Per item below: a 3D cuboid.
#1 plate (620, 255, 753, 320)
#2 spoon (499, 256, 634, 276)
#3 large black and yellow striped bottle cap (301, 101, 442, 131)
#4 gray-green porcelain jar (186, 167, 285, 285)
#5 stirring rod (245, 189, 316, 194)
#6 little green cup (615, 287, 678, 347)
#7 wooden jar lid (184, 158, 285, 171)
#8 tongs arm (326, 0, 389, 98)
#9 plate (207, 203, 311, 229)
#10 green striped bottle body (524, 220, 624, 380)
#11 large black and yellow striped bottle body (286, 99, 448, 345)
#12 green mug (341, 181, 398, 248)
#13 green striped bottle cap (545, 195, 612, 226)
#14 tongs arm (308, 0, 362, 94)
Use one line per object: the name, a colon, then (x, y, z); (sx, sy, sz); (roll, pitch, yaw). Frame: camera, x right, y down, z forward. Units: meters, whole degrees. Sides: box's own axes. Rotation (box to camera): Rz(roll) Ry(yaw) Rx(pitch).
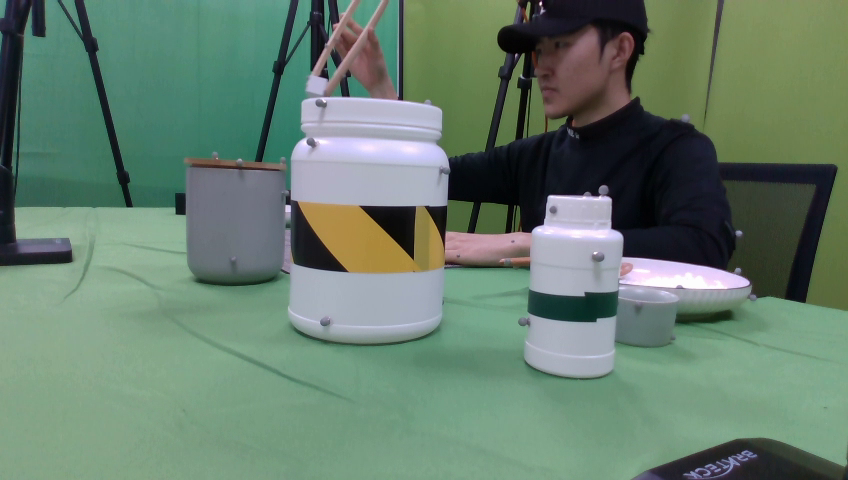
plate: (0.234, 0.049, 0.651); (0.209, 0.038, 0.209); (2, 7, 0)
spoon: (0.162, 0.027, 0.679); (0.195, 0.021, 0.041); (8, 3, -30)
large black and yellow striped bottle cap: (-0.042, -0.100, 0.491); (0.115, 0.019, 0.115); (1, 8, 0)
gray-green porcelain jar: (-0.212, -0.017, 0.682); (0.106, 0.126, 0.106); (2, 7, 0)
stirring rod: (-0.351, -0.119, 1.490); (0.177, 0.014, 0.006); (-2, 5, -29)
little green cup: (0.180, 0.064, 0.506); (0.061, 0.038, 0.061); (1, 8, 0)
wooden jar lid: (-0.210, -0.078, 0.674); (0.108, 0.020, 0.108); (5, 6, 0)
tongs arm: (-0.126, -0.406, 1.199); (0.028, 0.028, 0.387); (10, 51, 10)
plate: (-0.342, -0.050, 1.259); (0.208, 0.039, 0.207); (2, 7, 0)
green striped bottle body: (0.104, 0.031, 0.422); (0.063, 0.119, 0.063); (2, 8, 0)
large black and yellow striped bottle body: (-0.047, -0.018, 0.501); (0.131, 0.184, 0.130); (2, 7, 0)
green mug: (-0.089, -0.044, 0.997); (0.093, 0.105, 0.125); (1, 7, -8)
green striped bottle cap: (0.106, -0.020, 0.414); (0.044, 0.020, 0.044); (2, 4, 0)
tongs arm: (-0.149, -0.412, 1.201); (0.051, 0.026, 0.384); (9, 51, 5)
